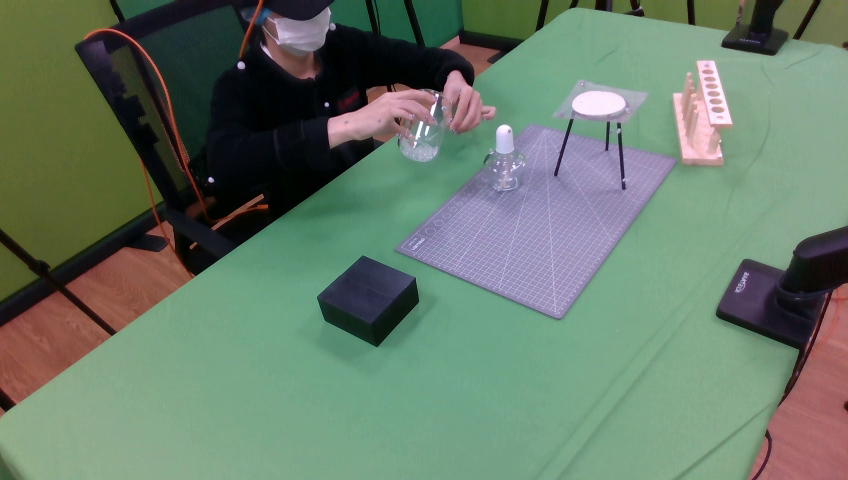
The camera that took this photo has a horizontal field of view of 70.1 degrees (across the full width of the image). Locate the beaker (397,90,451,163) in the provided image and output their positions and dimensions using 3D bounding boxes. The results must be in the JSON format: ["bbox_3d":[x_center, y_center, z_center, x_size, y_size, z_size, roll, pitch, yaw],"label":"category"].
[{"bbox_3d":[0.000,-0.184,1.003,0.073,0.084,0.100,1,60,26],"label":"beaker"}]

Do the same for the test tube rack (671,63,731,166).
[{"bbox_3d":[0.513,-0.241,1.132,0.066,0.085,0.242,4,41,14],"label":"test tube rack"}]

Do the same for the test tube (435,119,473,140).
[{"bbox_3d":[0.058,-0.204,1.120,0.017,0.017,0.151,14,6,25],"label":"test tube"}]

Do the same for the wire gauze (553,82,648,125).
[{"bbox_3d":[0.293,-0.226,1.002,0.120,0.011,0.125,17,45,27],"label":"wire gauze"}]

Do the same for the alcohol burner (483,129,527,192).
[{"bbox_3d":[0.141,-0.144,1.050,0.078,0.119,0.077,-4,42,4],"label":"alcohol burner"}]

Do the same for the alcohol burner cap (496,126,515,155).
[{"bbox_3d":[0.138,-0.172,1.028,0.034,0.048,0.033,-5,38,4],"label":"alcohol burner cap"}]

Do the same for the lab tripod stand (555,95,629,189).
[{"bbox_3d":[0.300,-0.174,1.045,0.148,0.132,0.147,-5,38,5],"label":"lab tripod stand"}]
